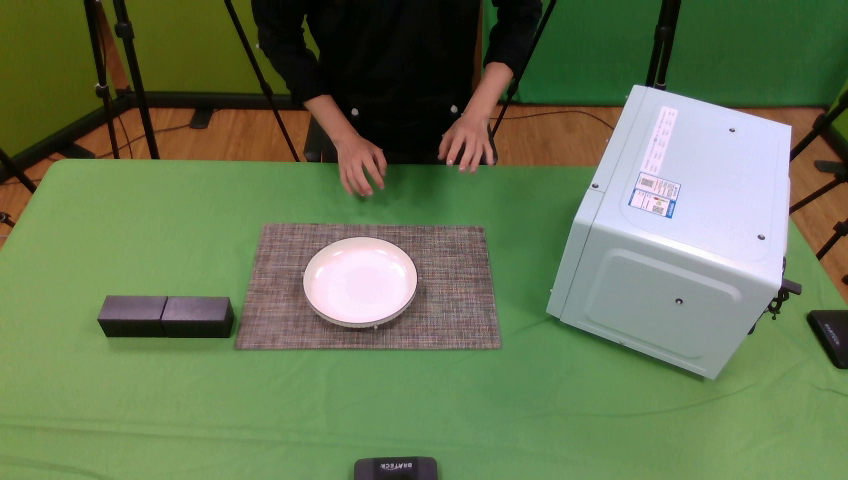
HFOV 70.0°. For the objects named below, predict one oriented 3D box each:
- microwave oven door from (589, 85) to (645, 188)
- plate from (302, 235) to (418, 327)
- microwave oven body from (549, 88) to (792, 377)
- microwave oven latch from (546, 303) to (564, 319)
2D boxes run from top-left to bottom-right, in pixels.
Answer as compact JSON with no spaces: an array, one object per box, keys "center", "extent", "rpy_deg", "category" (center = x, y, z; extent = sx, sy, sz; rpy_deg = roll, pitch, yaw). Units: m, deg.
[{"center":[0.342,-0.107,1.149],"extent":[0.039,0.245,0.354],"rpy_deg":[20,48,15],"category":"microwave oven door"},{"center":[-0.114,0.077,1.098],"extent":[0.208,0.039,0.206],"rpy_deg":[2,46,-2],"category":"plate"},{"center":[0.456,-0.028,1.088],"extent":[0.325,0.261,0.440],"rpy_deg":[20,47,16],"category":"microwave oven body"},{"center":[0.242,0.102,1.081],"extent":[0.030,0.029,0.079],"rpy_deg":[21,48,17],"category":"microwave oven latch"}]
